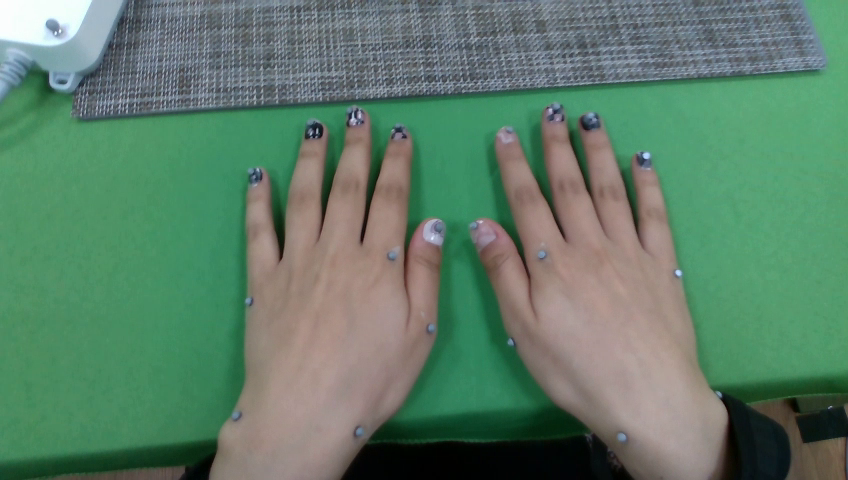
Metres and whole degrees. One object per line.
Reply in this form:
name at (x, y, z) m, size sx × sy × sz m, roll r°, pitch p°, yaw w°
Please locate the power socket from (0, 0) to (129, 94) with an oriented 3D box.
power socket at (-0.206, -0.195, 0.372) m, size 0.072 × 0.033 × 0.225 m, roll 9°, pitch 69°, yaw 2°
